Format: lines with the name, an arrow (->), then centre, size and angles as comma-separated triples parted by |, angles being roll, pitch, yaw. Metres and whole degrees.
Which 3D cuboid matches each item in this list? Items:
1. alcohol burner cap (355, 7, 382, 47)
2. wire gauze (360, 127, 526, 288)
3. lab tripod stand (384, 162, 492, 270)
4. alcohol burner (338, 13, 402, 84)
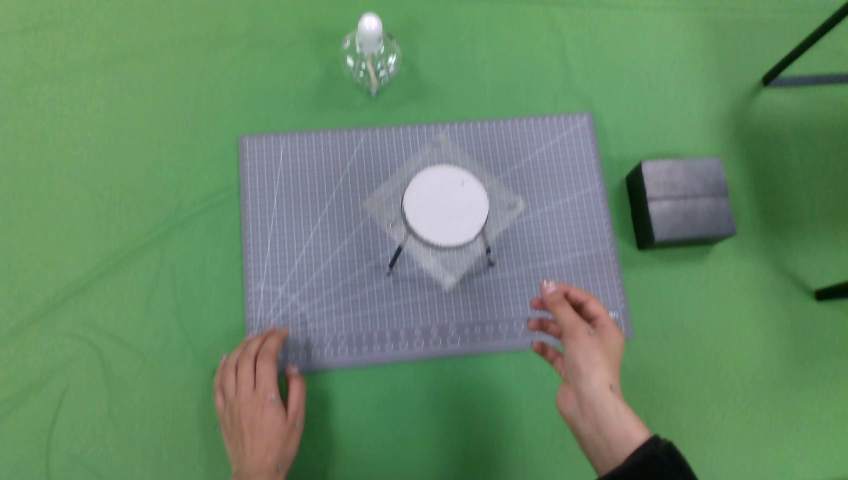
alcohol burner cap -> -0.063, -0.248, 0.697 | 0.034, 0.048, 0.033 | 1, 81, -7
wire gauze -> 0.019, -0.037, 0.604 | 0.125, 0.011, 0.121 | 44, 77, 6
lab tripod stand -> 0.019, -0.021, 0.670 | 0.148, 0.132, 0.147 | 2, 75, -5
alcohol burner -> -0.065, -0.240, 0.731 | 0.078, 0.119, 0.077 | 1, 76, -5
